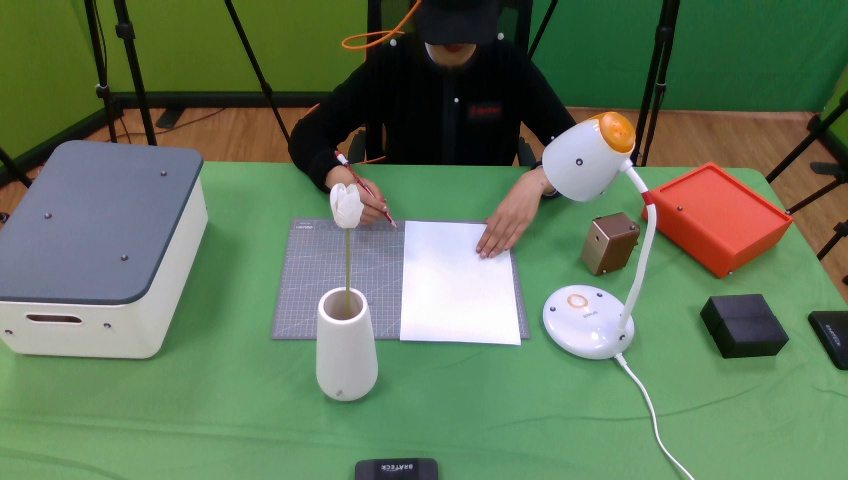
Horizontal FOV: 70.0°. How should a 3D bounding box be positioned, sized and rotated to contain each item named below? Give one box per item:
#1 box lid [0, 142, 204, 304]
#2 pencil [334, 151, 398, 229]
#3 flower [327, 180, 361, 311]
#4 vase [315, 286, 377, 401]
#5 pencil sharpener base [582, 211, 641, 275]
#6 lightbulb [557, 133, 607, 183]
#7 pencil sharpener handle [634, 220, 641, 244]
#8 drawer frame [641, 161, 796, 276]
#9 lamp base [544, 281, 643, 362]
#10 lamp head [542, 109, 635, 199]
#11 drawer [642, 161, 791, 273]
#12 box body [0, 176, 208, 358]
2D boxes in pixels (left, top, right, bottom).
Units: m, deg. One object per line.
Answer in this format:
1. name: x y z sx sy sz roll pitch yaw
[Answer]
1. box lid: -0.533 -0.044 0.995 0.263 0.015 0.369 3 45 -3
2. pencil: -0.109 -0.096 1.154 0.012 0.012 0.193 -35 82 -31
3. flower: -0.110 0.086 0.867 0.044 0.363 0.038 22 33 36
4. vase: -0.119 0.159 0.911 0.098 0.201 0.097 2 47 -2
5. pencil sharpener base: 0.357 0.005 1.156 0.077 0.107 0.061 -15 48 -18
6. lightbulb: 0.243 -0.127 0.917 0.059 0.108 0.059 6 67 -13
7. pencil sharpener handle: 0.405 -0.015 1.162 0.031 0.068 0.035 -15 45 -17
8. drawer frame: 0.599 -0.051 1.244 0.202 0.083 0.212 -24 53 -25
9. lamp base: 0.304 0.095 1.015 0.161 0.181 0.178 -24 54 -24
10. lamp head: 0.253 -0.131 0.893 0.113 0.123 0.112 10 66 -24
11. drawer: 0.596 -0.051 1.246 0.194 0.073 0.210 -23 52 -25
12. box body: -0.546 0.017 1.045 0.254 0.161 0.361 2 46 -2
